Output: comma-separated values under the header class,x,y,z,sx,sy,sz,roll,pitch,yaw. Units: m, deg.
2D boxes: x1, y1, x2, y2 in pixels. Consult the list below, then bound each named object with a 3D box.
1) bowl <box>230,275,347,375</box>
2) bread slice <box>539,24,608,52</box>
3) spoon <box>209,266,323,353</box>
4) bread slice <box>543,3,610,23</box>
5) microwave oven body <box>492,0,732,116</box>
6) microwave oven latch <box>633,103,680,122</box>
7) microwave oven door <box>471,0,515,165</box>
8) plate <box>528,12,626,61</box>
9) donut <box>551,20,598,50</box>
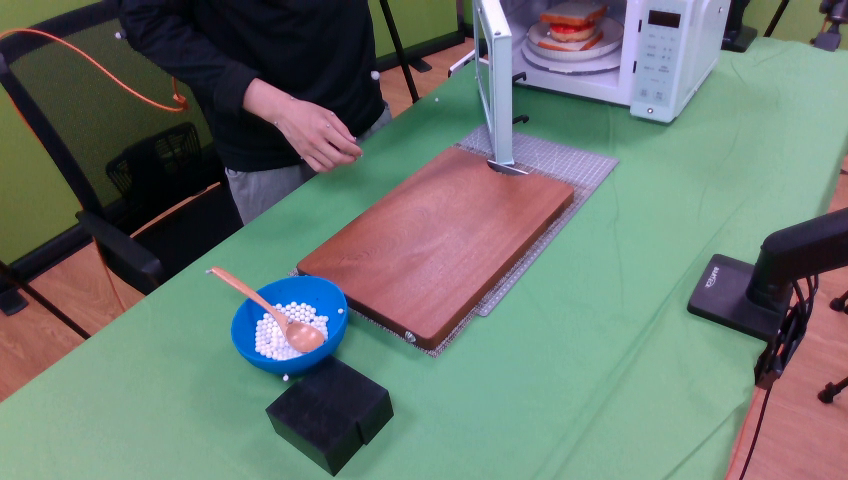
class,x,y,z,sx,sy,sz,roll,pitch,yaw
bowl,-0.171,0.125,0.802,0.151,0.077,0.150,-4,40,4
bread slice,0.336,-0.449,1.335,0.132,0.019,0.104,-25,43,-19
spoon,-0.213,0.088,0.806,0.193,0.021,0.042,37,55,11
bread slice,0.328,-0.483,1.279,0.106,0.018,0.135,20,37,31
microwave oven body,0.377,-0.462,1.267,0.438,0.261,0.327,21,48,30
microwave oven latch,0.443,-0.249,1.157,0.078,0.029,0.030,21,48,30
microwave oven door,0.127,-0.340,1.153,0.039,0.245,0.354,-6,40,2
plate,0.334,-0.447,1.330,0.207,0.039,0.206,-6,43,6
donut,0.322,-0.442,1.294,0.099,0.048,0.098,-2,44,3
